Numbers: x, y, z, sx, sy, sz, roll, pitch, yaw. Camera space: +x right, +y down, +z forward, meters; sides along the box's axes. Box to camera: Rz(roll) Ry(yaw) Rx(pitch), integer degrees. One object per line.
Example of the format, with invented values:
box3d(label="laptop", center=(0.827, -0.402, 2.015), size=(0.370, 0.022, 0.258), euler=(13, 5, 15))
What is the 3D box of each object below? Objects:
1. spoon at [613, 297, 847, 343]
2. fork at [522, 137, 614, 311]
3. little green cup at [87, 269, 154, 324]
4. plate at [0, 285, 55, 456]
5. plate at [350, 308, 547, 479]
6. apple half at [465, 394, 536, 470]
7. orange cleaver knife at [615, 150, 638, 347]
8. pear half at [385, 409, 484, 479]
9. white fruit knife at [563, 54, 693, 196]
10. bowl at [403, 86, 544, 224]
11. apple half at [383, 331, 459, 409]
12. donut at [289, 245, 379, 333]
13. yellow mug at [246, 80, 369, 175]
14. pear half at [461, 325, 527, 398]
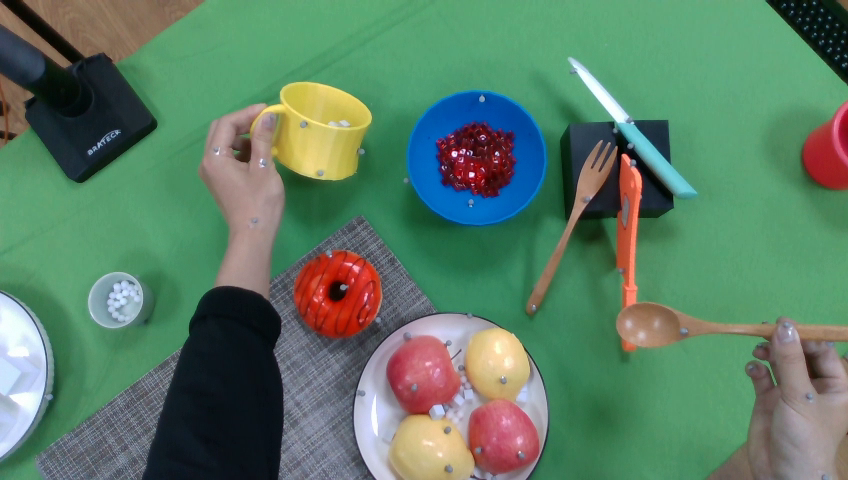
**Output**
box3d(label="spoon", center=(0.259, 0.071, 0.508), size=(0.192, 0.022, 0.041), euler=(-1, 82, 34))
box3d(label="fork", center=(0.153, -0.013, 0.660), size=(0.028, 0.018, 0.208), euler=(22, 102, -3))
box3d(label="little green cup", center=(-0.336, 0.065, 0.678), size=(0.061, 0.039, 0.061), euler=(0, 81, 1))
box3d(label="plate", center=(-0.506, 0.147, 0.667), size=(0.208, 0.039, 0.207), euler=(0, 81, 1))
box3d(label="plate", center=(0.026, 0.178, 0.652), size=(0.209, 0.038, 0.208), euler=(0, 81, 0))
box3d(label="apple half", center=(0.073, 0.203, 0.630), size=(0.081, 0.033, 0.081), euler=(1, 92, 21))
box3d(label="orange cleaver knife", center=(0.217, 0.011, 0.658), size=(0.012, 0.077, 0.212), euler=(-2, 106, 5))
box3d(label="pear half", center=(0.016, 0.224, 0.630), size=(0.110, 0.056, 0.076), euler=(25, 87, 0))
box3d(label="white fruit knife", center=(0.219, -0.128, 0.664), size=(0.027, 0.016, 0.206), euler=(-31, 78, -34))
box3d(label="bowl", center=(0.053, -0.085, 0.677), size=(0.151, 0.077, 0.151), euler=(0, 81, 0))
box3d(label="apple half", center=(-0.005, 0.139, 0.640), size=(0.075, 0.053, 0.080), euler=(-20, 85, -2))
box3d(label="donut", center=(-0.099, 0.054, 0.670), size=(0.099, 0.048, 0.099), euler=(0, 83, 2))
box3d(label="yellow mug", center=(-0.129, -0.122, 0.655), size=(0.131, 0.064, 0.099), euler=(-10, 45, -39))
box3d(label="pear half", center=(0.072, 0.135, 0.644), size=(0.070, 0.031, 0.088), euler=(-9, 90, 22))
